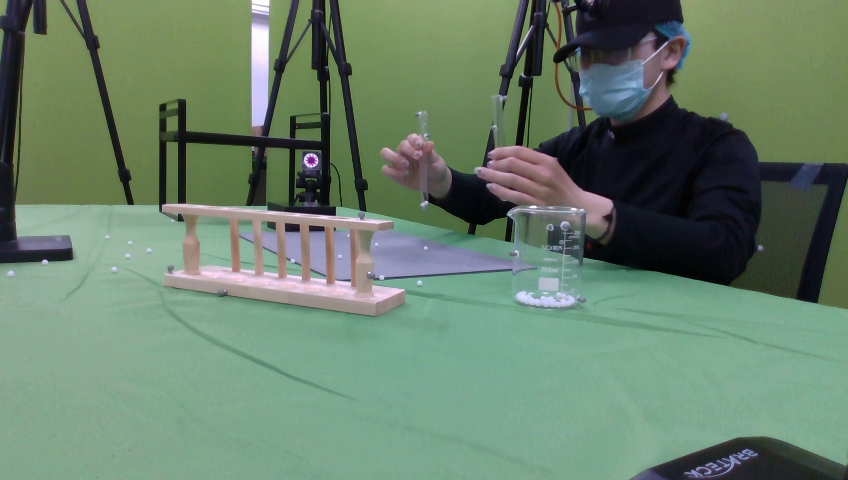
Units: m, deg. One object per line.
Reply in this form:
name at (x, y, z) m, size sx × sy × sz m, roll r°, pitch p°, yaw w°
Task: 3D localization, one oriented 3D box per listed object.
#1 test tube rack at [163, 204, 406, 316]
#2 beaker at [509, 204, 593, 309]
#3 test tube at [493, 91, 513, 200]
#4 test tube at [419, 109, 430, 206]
test tube rack at (-0.141, 0.013, 0.601) m, size 0.241 × 0.085 × 0.067 m, roll 5°, pitch 8°, yaw 21°
beaker at (0.126, 0.015, 0.613) m, size 0.084 × 0.100 × 0.074 m, roll 1°, pitch 7°, yaw -5°
test tube at (0.111, -0.131, 0.844) m, size 0.017 × 0.150 × 0.017 m, roll -6°, pitch 7°, yaw 1°
test tube at (0.002, -0.128, 0.940) m, size 0.017 × 0.150 × 0.017 m, roll -1°, pitch 2°, yaw 0°
